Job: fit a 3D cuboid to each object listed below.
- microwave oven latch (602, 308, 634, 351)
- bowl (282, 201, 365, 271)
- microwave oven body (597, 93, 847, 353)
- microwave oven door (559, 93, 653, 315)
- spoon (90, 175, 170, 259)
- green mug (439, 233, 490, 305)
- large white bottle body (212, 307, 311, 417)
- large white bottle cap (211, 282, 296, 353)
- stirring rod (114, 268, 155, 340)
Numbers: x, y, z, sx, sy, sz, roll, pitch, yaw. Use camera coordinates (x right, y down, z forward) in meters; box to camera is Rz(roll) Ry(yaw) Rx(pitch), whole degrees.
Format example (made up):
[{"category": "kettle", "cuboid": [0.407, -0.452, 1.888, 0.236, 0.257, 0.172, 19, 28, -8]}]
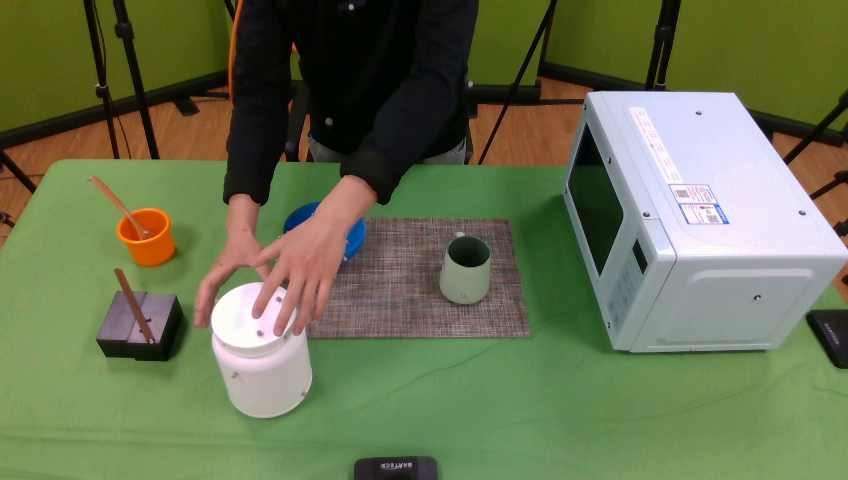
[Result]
[{"category": "microwave oven latch", "cuboid": [0.332, 0.153, 1.044, 0.030, 0.029, 0.078, -1, 45, -4]}, {"category": "bowl", "cuboid": [-0.187, 0.005, 1.137, 0.151, 0.077, 0.150, 3, 46, -3]}, {"category": "microwave oven body", "cuboid": [0.475, -0.041, 1.109, 0.326, 0.261, 0.438, -1, 45, -4]}, {"category": "microwave oven door", "cuboid": [0.327, -0.074, 1.123, 0.039, 0.245, 0.353, -1, 46, -5]}, {"category": "spoon", "cuboid": [-0.539, -0.042, 1.111, 0.041, 0.021, 0.194, -46, 109, -35]}, {"category": "green mug", "cuboid": [0.072, 0.044, 1.101, 0.092, 0.105, 0.124, -6, 46, -9]}, {"category": "large white bottle body", "cuboid": [-0.241, 0.165, 0.908, 0.131, 0.185, 0.130, 2, 45, -2]}, {"category": "large white bottle cap", "cuboid": [-0.237, 0.106, 0.847, 0.115, 0.018, 0.114, 2, 45, -2]}, {"category": "stirring rod", "cuboid": [-0.479, 0.102, 0.999, 0.014, 0.006, 0.175, 8, 31, -50]}]
